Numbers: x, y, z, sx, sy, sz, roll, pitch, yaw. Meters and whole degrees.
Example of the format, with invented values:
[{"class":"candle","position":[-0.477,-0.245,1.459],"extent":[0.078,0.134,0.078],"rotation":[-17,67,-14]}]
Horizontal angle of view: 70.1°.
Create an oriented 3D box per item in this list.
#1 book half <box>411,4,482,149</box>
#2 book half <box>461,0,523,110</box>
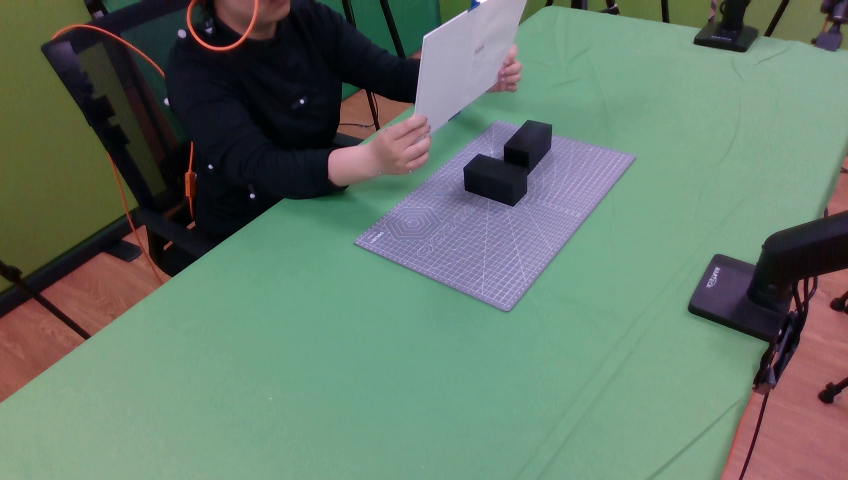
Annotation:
[{"class":"book half","position":[0.034,-0.256,0.966],"extent":[0.007,0.210,0.143],"rotation":[35,54,19]},{"class":"book half","position":[0.116,-0.341,1.048],"extent":[0.016,0.211,0.149],"rotation":[34,55,20]}]
